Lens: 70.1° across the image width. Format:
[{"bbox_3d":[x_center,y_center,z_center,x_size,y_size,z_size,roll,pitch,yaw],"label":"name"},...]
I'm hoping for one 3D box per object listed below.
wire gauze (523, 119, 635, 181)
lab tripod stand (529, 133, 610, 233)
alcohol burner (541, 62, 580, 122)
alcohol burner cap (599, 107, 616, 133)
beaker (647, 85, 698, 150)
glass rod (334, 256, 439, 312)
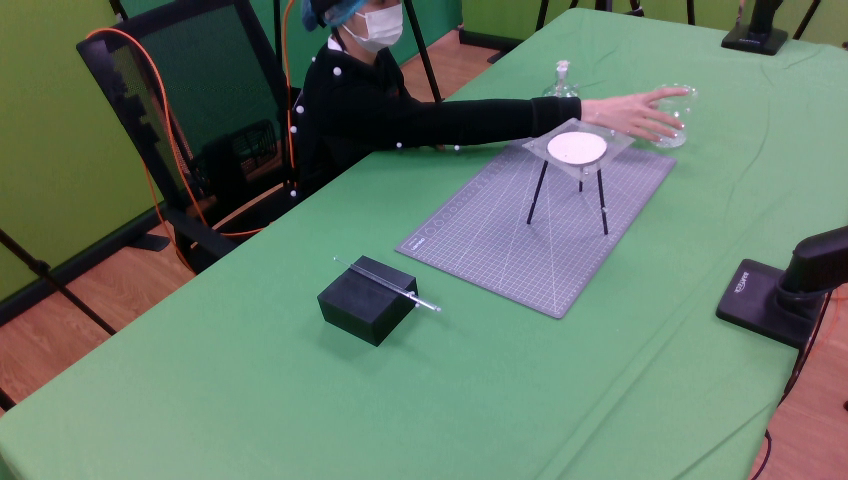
[{"bbox_3d":[0.233,-0.143,0.913,0.122,0.011,0.124,-32,45,-25],"label":"wire gauze"},{"bbox_3d":[0.236,-0.089,0.953,0.148,0.132,0.147,-5,42,5],"label":"lab tripod stand"},{"bbox_3d":[0.276,-0.302,1.222,0.078,0.119,0.077,-4,38,4],"label":"alcohol burner"},{"bbox_3d":[0.362,-0.239,1.189,0.034,0.048,0.033,-5,39,4],"label":"alcohol burner cap"},{"bbox_3d":[0.455,-0.224,1.110,0.084,0.101,0.073,-10,40,-4],"label":"beaker"},{"bbox_3d":[-0.058,0.060,0.850,0.198,0.008,0.008,24,49,33],"label":"glass rod"}]
